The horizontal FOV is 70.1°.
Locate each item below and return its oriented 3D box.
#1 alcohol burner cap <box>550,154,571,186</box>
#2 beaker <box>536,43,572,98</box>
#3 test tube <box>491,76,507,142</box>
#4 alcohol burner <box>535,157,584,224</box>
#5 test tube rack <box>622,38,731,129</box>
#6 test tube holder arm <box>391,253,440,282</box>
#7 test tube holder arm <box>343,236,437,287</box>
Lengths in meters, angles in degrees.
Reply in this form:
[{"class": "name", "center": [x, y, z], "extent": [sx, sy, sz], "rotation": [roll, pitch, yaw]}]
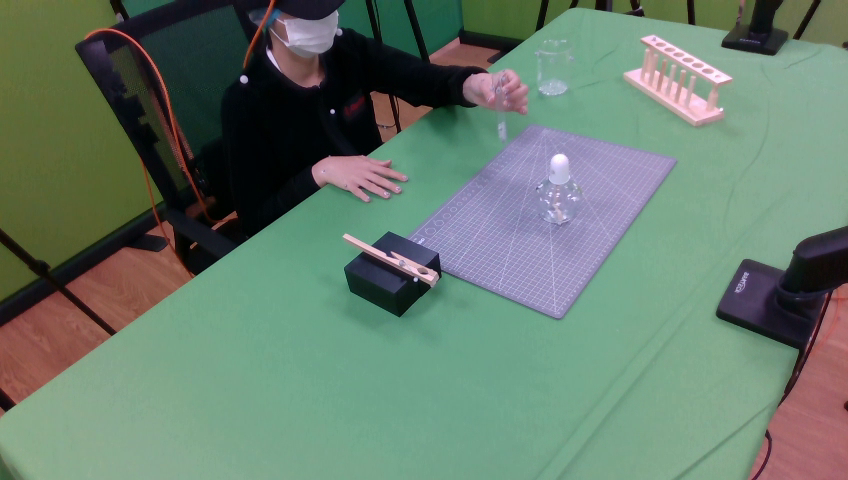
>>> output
[{"class": "alcohol burner cap", "center": [0.212, -0.112, 0.944], "extent": [0.034, 0.048, 0.033], "rotation": [-7, 44, 7]}, {"class": "beaker", "center": [0.280, -0.368, 1.311], "extent": [0.074, 0.101, 0.084], "rotation": [4, 41, 14]}, {"class": "test tube", "center": [0.129, -0.220, 1.033], "extent": [0.017, 0.151, 0.017], "rotation": [-5, 57, 9]}, {"class": "alcohol burner", "center": [0.217, -0.085, 0.967], "extent": [0.078, 0.119, 0.077], "rotation": [-3, 41, 3]}, {"class": "test tube rack", "center": [0.506, -0.325, 1.234], "extent": [0.067, 0.085, 0.240], "rotation": [-18, 41, -11]}, {"class": "test tube holder arm", "center": [-0.015, 0.039, 0.858], "extent": [0.087, 0.015, 0.010], "rotation": [22, 57, 32]}, {"class": "test tube holder arm", "center": [-0.054, 0.029, 0.879], "extent": [0.177, 0.015, 0.013], "rotation": [22, 56, 32]}]
